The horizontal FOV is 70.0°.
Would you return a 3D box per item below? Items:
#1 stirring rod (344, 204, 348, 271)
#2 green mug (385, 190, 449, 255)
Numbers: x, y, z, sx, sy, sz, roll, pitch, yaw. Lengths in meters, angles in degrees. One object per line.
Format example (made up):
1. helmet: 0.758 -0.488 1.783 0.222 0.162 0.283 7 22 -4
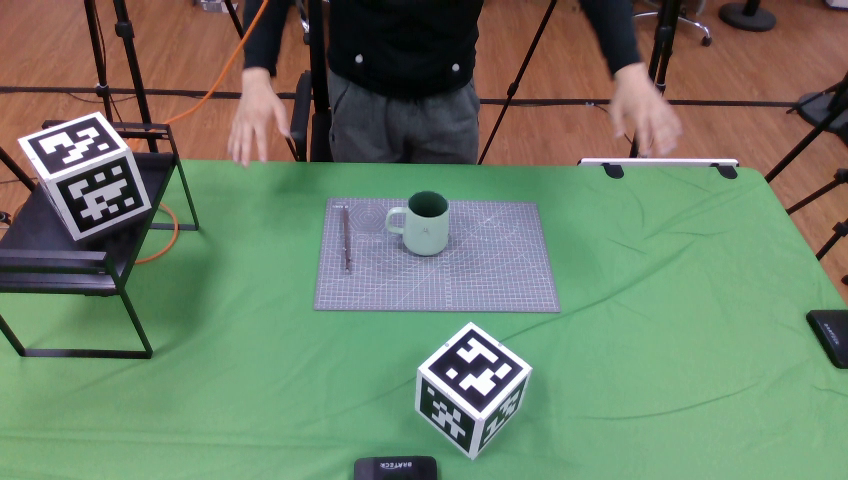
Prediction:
1. stirring rod: -0.154 -0.007 1.191 0.006 0.014 0.175 -7 47 -2
2. green mug: -0.013 -0.033 1.166 0.125 0.105 0.092 2 46 -2
